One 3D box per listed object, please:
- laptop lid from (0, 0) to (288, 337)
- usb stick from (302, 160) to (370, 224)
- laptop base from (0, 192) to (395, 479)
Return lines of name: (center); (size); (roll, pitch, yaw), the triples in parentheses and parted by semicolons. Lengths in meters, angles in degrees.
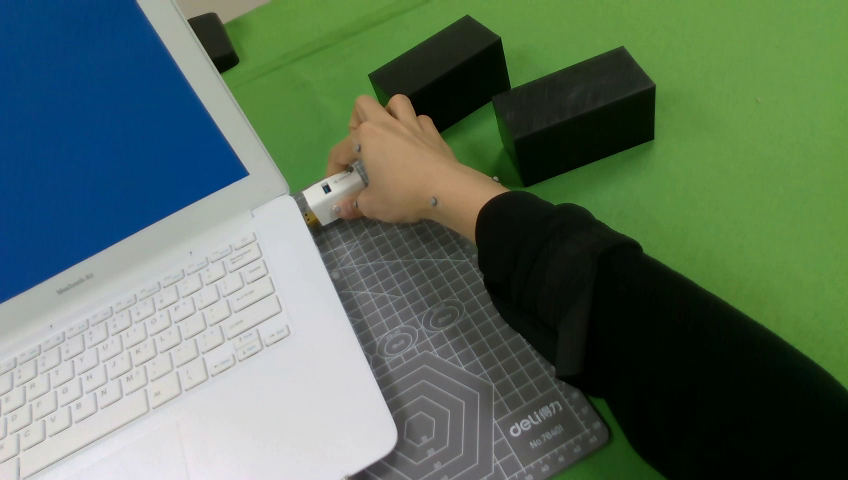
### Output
laptop lid: (-0.301, -0.043, 0.408); (0.357, 0.244, 0.013); (-29, 36, -3)
usb stick: (-0.073, -0.034, 0.459); (0.059, 0.027, 0.021); (-32, 49, -1)
laptop base: (-0.212, 0.122, 0.404); (0.354, 0.023, 0.233); (-28, 54, -4)
